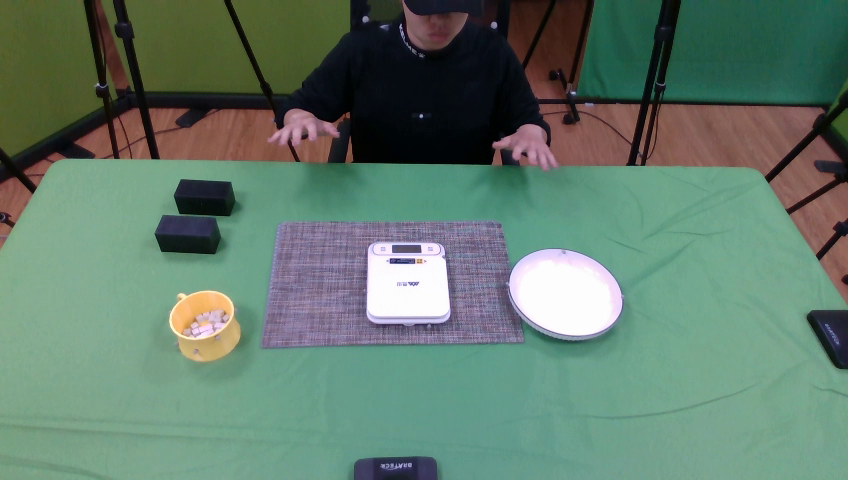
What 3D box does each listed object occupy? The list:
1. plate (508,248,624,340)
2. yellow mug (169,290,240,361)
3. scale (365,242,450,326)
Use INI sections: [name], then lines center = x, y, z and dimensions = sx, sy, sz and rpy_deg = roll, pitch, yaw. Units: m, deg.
[plate]
center = 0.256, 0.101, 1.106
dimensions = 0.209, 0.038, 0.208
rpy_deg = 2, 45, -2
[yellow mug]
center = -0.373, 0.132, 1.009
dimensions = 0.130, 0.064, 0.100
rpy_deg = 35, 53, 27
[scale]
center = -0.032, 0.071, 1.113
dimensions = 0.149, 0.032, 0.199
rpy_deg = 0, 46, -4
